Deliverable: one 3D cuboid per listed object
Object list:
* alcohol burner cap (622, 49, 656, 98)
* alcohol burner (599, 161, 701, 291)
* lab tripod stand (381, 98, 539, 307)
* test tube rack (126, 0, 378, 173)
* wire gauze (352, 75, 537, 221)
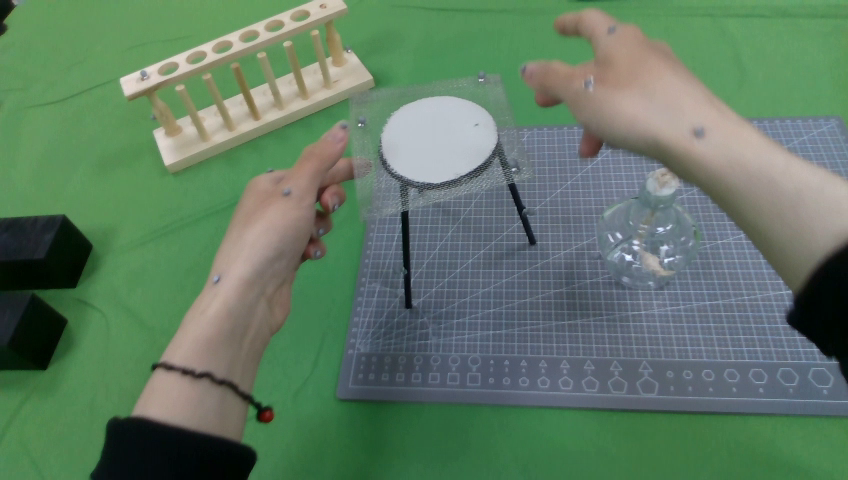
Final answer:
[{"bbox_3d":[0.224,-0.174,0.625,0.034,0.048,0.033,-5,54,7],"label":"alcohol burner cap"},{"bbox_3d":[0.176,-0.014,0.466,0.078,0.120,0.077,-5,51,6],"label":"alcohol burner"},{"bbox_3d":[0.020,-0.032,0.490,0.148,0.133,0.147,-4,55,5],"label":"lab tripod stand"},{"bbox_3d":[-0.178,-0.170,0.655,0.242,0.086,0.066,-26,55,-11],"label":"test tube rack"},{"bbox_3d":[0.010,-0.074,0.438,0.121,0.011,0.124,-10,54,2],"label":"wire gauze"}]
